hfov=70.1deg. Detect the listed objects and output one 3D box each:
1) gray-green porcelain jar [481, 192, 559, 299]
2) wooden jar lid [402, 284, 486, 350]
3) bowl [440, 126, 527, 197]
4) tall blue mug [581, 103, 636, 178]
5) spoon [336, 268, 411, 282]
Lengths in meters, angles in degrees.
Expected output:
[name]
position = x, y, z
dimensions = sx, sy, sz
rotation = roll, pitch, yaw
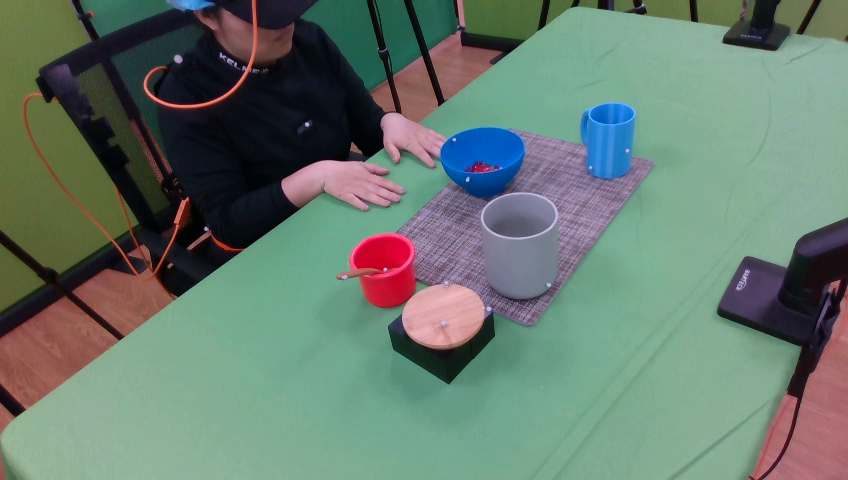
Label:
[gray-green porcelain jar]
position = 0.138, 0.012, 0.858
dimensions = 0.106, 0.127, 0.105
rotation = -6, 40, 5
[wooden jar lid]
position = 0.026, 0.101, 0.786
dimensions = 0.108, 0.021, 0.108
rotation = -5, 39, 4
[bowl]
position = 0.107, -0.130, 1.070
dimensions = 0.151, 0.077, 0.150
rotation = -5, 40, 5
[tall blue mug]
position = 0.313, -0.177, 1.062
dimensions = 0.106, 0.108, 0.078
rotation = 21, 50, 31
[spoon]
position = -0.071, 0.047, 0.850
dimensions = 0.041, 0.195, 0.021
rotation = 18, 93, 24
